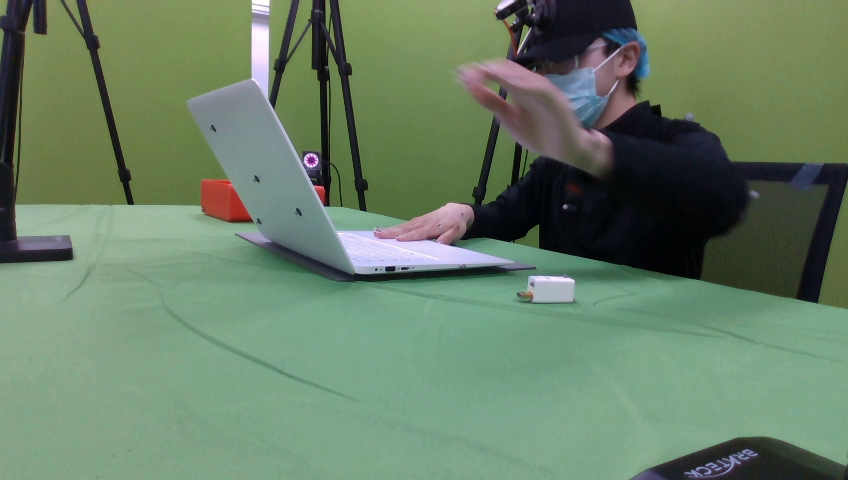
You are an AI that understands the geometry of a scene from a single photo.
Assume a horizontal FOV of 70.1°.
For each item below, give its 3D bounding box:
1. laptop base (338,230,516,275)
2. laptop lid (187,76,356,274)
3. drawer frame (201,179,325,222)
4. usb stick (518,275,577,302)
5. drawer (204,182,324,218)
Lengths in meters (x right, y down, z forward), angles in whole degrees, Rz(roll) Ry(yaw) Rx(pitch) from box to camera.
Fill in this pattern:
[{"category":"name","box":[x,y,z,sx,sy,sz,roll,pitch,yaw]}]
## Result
[{"category":"laptop base","box":[-0.065,0.014,0.877,0.237,0.023,0.352,1,7,-32]},{"category":"laptop lid","box":[-0.210,-0.082,0.772,0.013,0.242,0.355,-34,25,-23]},{"category":"drawer frame","box":[-0.361,-0.092,1.356,0.215,0.082,0.200,-4,10,-37]},{"category":"usb stick","box":[0.127,0.050,0.626,0.059,0.027,0.021,-3,10,-12]},{"category":"drawer","box":[-0.360,-0.092,1.358,0.213,0.073,0.193,-3,10,-36]}]
